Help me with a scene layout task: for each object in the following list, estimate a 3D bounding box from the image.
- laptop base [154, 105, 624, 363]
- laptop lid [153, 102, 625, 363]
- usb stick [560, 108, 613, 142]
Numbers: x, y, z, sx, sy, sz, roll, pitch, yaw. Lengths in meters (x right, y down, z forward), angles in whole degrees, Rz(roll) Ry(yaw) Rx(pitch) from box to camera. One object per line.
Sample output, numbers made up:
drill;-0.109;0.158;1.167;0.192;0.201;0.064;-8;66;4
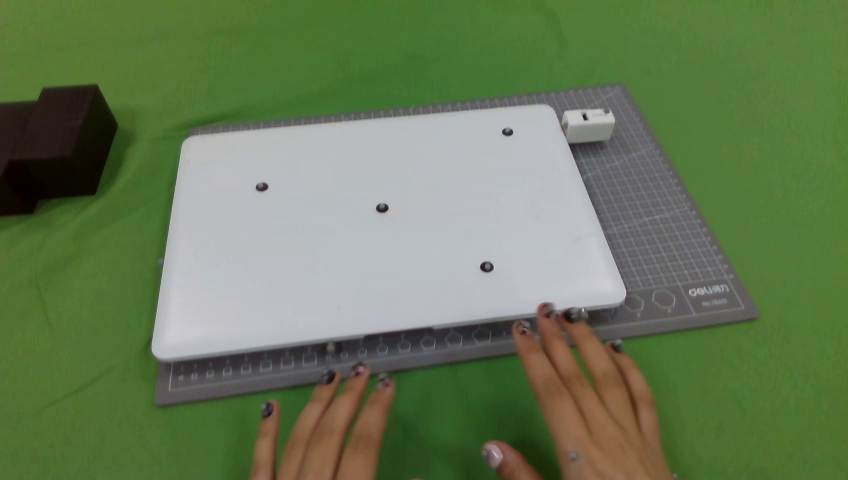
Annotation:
laptop base;-0.035;-0.018;0.519;0.355;0.023;0.233;-6;55;-5
laptop lid;-0.035;-0.024;0.508;0.357;0.013;0.239;-5;54;-4
usb stick;0.146;-0.109;0.574;0.059;0.027;0.021;-6;53;-2
